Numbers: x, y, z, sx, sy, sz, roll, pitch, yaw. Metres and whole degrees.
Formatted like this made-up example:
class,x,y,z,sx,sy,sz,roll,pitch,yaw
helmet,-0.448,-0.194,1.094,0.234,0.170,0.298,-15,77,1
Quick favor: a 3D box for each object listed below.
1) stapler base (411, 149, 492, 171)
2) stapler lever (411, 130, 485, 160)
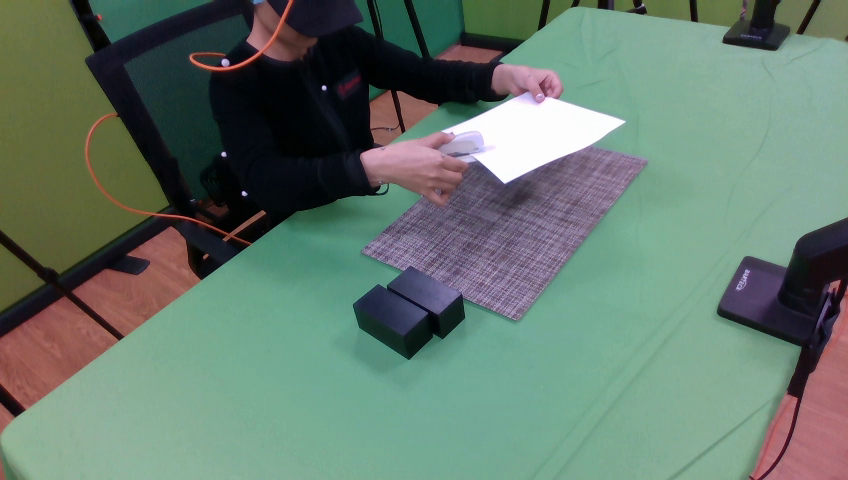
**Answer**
class,x,y,z,sx,sy,sz,roll,pitch,yaw
stapler base,0.042,-0.135,0.971,0.131,0.024,0.041,-12,16,-4
stapler lever,0.039,-0.152,0.965,0.118,0.040,0.026,-5,16,-6
